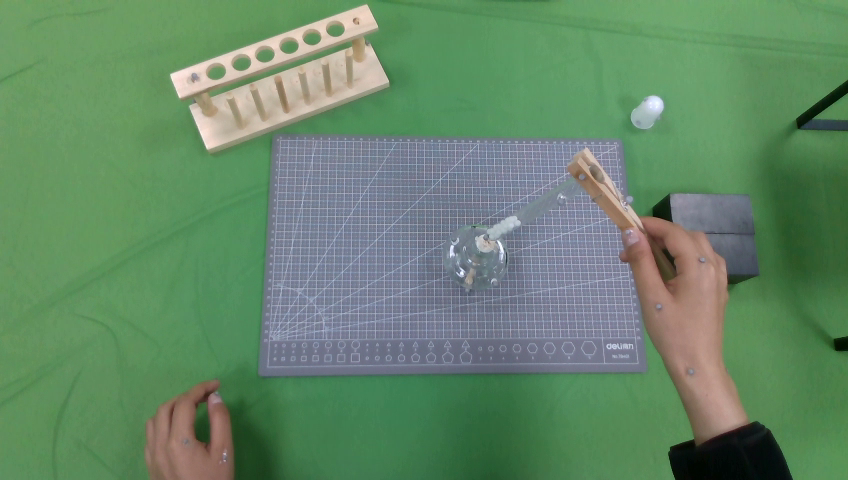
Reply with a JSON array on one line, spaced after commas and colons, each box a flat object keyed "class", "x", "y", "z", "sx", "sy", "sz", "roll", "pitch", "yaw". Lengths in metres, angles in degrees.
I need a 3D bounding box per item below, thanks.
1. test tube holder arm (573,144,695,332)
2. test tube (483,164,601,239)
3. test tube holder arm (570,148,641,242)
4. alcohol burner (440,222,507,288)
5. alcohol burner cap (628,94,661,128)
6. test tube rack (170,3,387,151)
[{"class": "test tube holder arm", "x": 0.176, "y": -0.001, "z": 0.506, "sx": 0.015, "sy": 0.013, "sz": 0.178, "roll": -30, "pitch": 94, "yaw": 32}, {"class": "test tube", "x": 0.101, "y": -0.031, "z": 0.552, "sx": 0.017, "sy": 0.150, "sz": 0.017, "roll": 13, "pitch": 63, "yaw": -28}, {"class": "test tube holder arm", "x": 0.149, "y": -0.036, "z": 0.496, "sx": 0.088, "sy": 0.015, "sz": 0.010, "roll": 52, "pitch": 32, "yaw": -12}, {"class": "alcohol burner", "x": 0.059, "y": 0.013, "z": 0.681, "sx": 0.078, "sy": 0.119, "sz": 0.077, "roll": 1, "pitch": 75, "yaw": -5}, {"class": "alcohol burner cap", "x": 0.289, "y": -0.169, "z": 0.787, "sx": 0.034, "sy": 0.048, "sz": 0.033, "roll": 1, "pitch": 74, "yaw": -2}, {"class": "test tube rack", "x": -0.168, "y": -0.197, "z": 0.738, "sx": 0.242, "sy": 0.085, "sz": 0.066, "roll": -23, "pitch": 77, "yaw": -10}]
